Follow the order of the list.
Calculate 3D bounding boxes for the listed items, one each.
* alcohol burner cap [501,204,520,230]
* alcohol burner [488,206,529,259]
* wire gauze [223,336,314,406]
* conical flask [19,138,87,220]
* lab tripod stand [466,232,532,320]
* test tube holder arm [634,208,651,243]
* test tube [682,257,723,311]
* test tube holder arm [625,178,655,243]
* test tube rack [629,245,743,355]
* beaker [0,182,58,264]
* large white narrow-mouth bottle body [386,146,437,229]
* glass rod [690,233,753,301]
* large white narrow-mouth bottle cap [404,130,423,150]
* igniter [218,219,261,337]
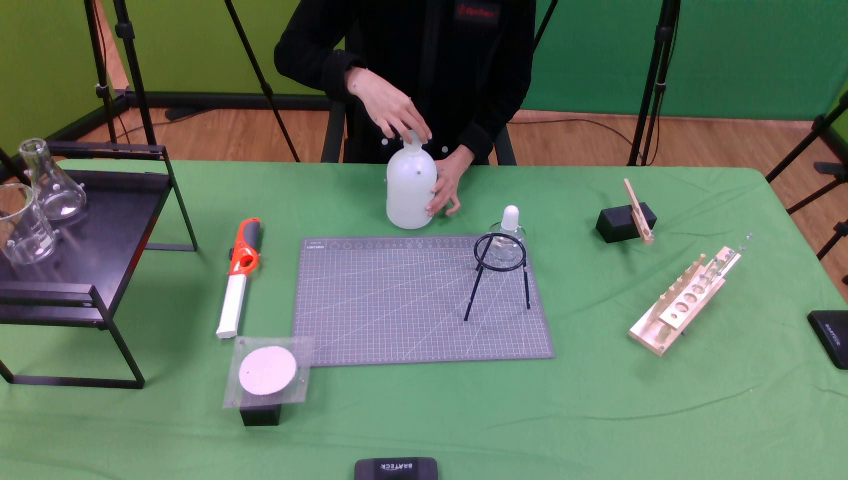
[{"bbox_3d":[0.164,-0.046,1.133,0.034,0.048,0.033,2,40,-2],"label":"alcohol burner cap"},{"bbox_3d":[0.163,-0.020,1.158,0.078,0.120,0.077,0,47,0],"label":"alcohol burner"},{"bbox_3d":[-0.237,0.197,0.931,0.121,0.011,0.124,1,45,-4],"label":"wire gauze"},{"bbox_3d":[-0.576,-0.097,0.930,0.075,0.122,0.075,2,46,-2],"label":"conical flask"},{"bbox_3d":[0.125,0.059,1.065,0.148,0.132,0.147,1,45,0],"label":"lab tripod stand"},{"bbox_3d":[0.428,-0.030,1.189,0.010,0.015,0.087,1,47,-2],"label":"test tube holder arm"},{"bbox_3d":[0.475,0.080,1.037,0.017,0.151,0.017,1,51,-1],"label":"test tube"},{"bbox_3d":[0.433,-0.062,1.220,0.013,0.015,0.177,1,47,-3],"label":"test tube holder arm"},{"bbox_3d":[0.474,0.095,1.091,0.242,0.085,0.066,-34,56,-31],"label":"test tube rack"},{"bbox_3d":[-0.582,-0.019,0.870,0.074,0.101,0.083,5,46,1],"label":"beaker"},{"bbox_3d":[-0.024,-0.120,1.190,0.102,0.195,0.101,2,46,-2],"label":"large white narrow-mouth bottle body"},{"bbox_3d":[0.507,0.053,1.041,0.008,0.200,0.008,5,51,-6],"label":"glass rod"},{"bbox_3d":[-0.018,-0.185,1.121,0.038,0.024,0.037,3,46,-2],"label":"large white narrow-mouth bottle cap"},{"bbox_3d":[-0.336,0.060,1.111,0.057,0.025,0.274,-8,46,3],"label":"igniter"}]
